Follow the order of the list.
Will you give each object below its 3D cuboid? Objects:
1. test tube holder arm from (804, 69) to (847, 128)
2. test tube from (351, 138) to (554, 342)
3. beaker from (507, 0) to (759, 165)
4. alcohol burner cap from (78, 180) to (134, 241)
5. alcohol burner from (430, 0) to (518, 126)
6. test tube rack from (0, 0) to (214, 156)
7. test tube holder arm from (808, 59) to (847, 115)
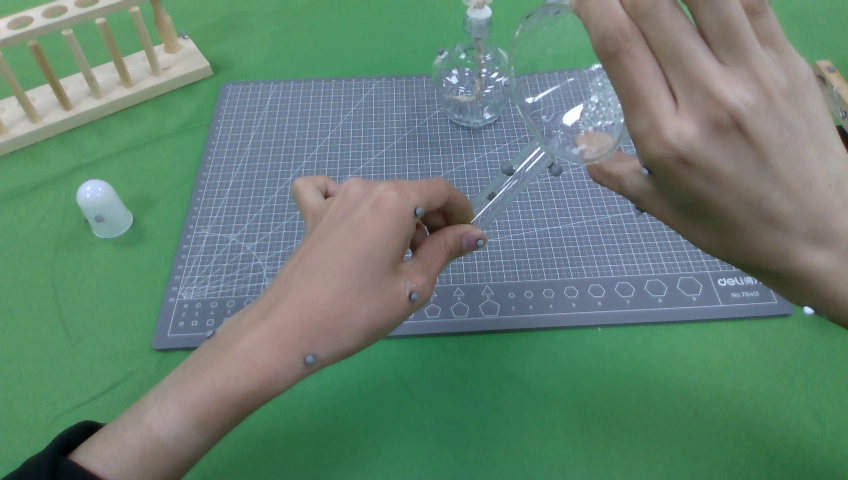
[{"bbox_3d":[0.336,-0.077,0.455,0.015,0.013,0.176,1,49,-6],"label":"test tube holder arm"},{"bbox_3d":[0.012,0.004,0.326,0.150,0.017,0.017,-46,54,16],"label":"test tube"},{"bbox_3d":[0.101,-0.088,0.292,0.100,0.084,0.073,-30,66,-22],"label":"beaker"},{"bbox_3d":[-0.254,-0.026,0.479,0.034,0.048,0.033,0,51,1],"label":"alcohol burner cap"},{"bbox_3d":[0.044,-0.159,0.527,0.078,0.120,0.077,0,52,0],"label":"alcohol burner"},{"bbox_3d":[-0.332,-0.160,0.559,0.242,0.086,0.066,-28,56,-20],"label":"test tube rack"},{"bbox_3d":[0.334,-0.115,0.480,0.015,0.010,0.087,1,50,-6],"label":"test tube holder arm"}]
